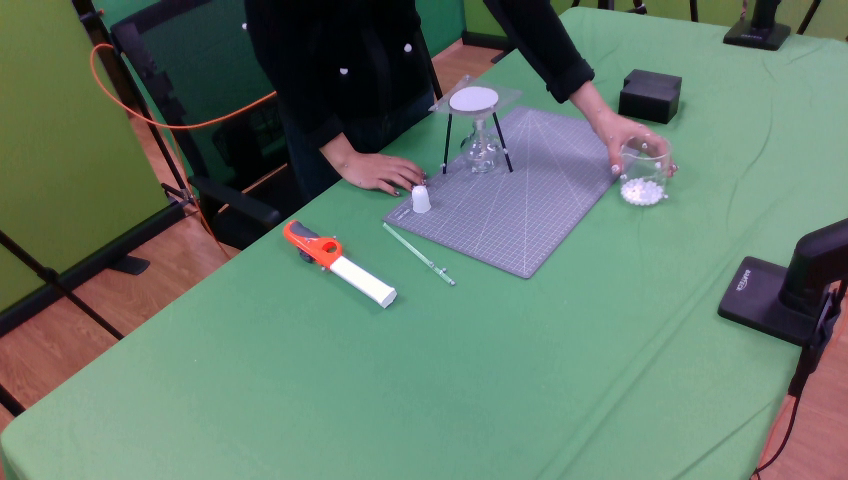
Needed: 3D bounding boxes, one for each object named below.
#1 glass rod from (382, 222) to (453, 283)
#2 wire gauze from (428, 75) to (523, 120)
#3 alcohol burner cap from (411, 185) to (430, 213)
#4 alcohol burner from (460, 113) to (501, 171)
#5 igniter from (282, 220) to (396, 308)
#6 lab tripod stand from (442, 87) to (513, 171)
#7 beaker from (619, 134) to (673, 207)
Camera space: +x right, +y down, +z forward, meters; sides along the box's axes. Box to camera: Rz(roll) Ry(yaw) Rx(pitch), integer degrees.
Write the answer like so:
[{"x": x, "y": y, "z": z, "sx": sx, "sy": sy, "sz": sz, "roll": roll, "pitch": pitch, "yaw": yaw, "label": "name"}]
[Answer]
[{"x": -0.014, "y": 0.016, "z": 0.976, "sx": 0.008, "sy": 0.008, "sz": 0.198, "roll": -30, "pitch": 44, "yaw": -22, "label": "glass rod"}, {"x": 0.090, "y": -0.250, "z": 1.062, "sx": 0.120, "sy": 0.011, "sz": 0.125, "roll": 23, "pitch": 50, "yaw": 30, "label": "wire gauze"}, {"x": -0.008, "y": -0.074, "z": 1.050, "sx": 0.034, "sy": 0.048, "sz": 0.033, "roll": -4, "pitch": 41, "yaw": 4, "label": "alcohol burner cap"}, {"x": 0.103, "y": -0.186, "z": 1.106, "sx": 0.078, "sy": 0.119, "sz": 0.077, "roll": -4, "pitch": 42, "yaw": 4, "label": "alcohol burner"}, {"x": -0.146, "y": 0.032, "z": 0.966, "sx": 0.274, "sy": 0.025, "sz": 0.057, "roll": 30, "pitch": 65, "yaw": 37, "label": "igniter"}, {"x": 0.097, "y": -0.200, "z": 1.107, "sx": 0.148, "sy": 0.132, "sz": 0.147, "roll": -4, "pitch": 40, "yaw": 4, "label": "lab tripod stand"}, {"x": 0.357, "y": -0.110, "z": 0.986, "sx": 0.084, "sy": 0.101, "sz": 0.073, "roll": -10, "pitch": 40, "yaw": 0, "label": "beaker"}]
